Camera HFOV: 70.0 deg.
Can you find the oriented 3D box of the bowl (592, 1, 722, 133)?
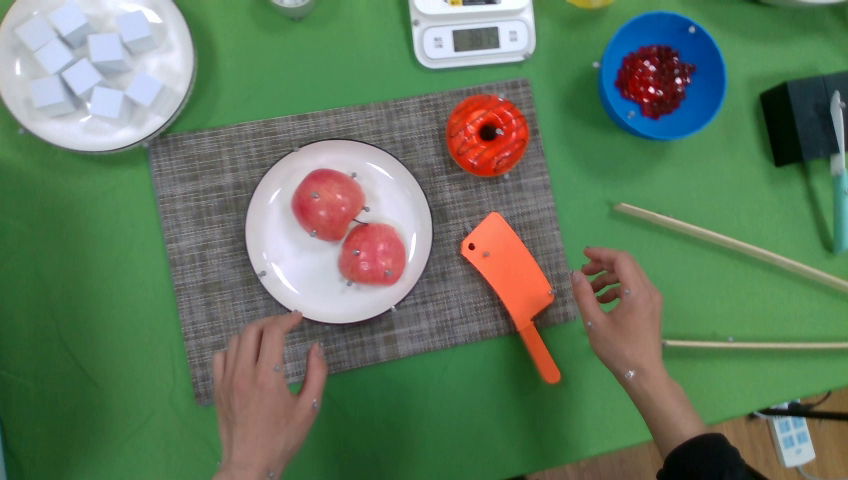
[{"bbox_3d":[0.263,-0.194,0.721,0.152,0.077,0.151,0,88,-7],"label":"bowl"}]

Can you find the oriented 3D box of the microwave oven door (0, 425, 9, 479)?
[{"bbox_3d":[-0.452,0.135,0.514,0.039,0.243,0.355,-9,88,-7],"label":"microwave oven door"}]

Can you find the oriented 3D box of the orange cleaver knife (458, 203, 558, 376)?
[{"bbox_3d":[0.114,0.058,0.715,0.077,0.012,0.211,-30,90,-13],"label":"orange cleaver knife"}]

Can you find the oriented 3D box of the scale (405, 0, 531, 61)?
[{"bbox_3d":[0.047,-0.320,0.724,0.149,0.031,0.200,-7,88,-7],"label":"scale"}]

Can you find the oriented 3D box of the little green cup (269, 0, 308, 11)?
[{"bbox_3d":[-0.158,-0.295,0.693,0.061,0.038,0.061,0,86,-6],"label":"little green cup"}]

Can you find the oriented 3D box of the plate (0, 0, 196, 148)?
[{"bbox_3d":[-0.356,-0.200,0.664,0.208,0.039,0.207,0,87,-7],"label":"plate"}]

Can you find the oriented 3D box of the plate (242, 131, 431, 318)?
[{"bbox_3d":[-0.096,-0.017,0.683,0.209,0.038,0.208,0,87,-7],"label":"plate"}]

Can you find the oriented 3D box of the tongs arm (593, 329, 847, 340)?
[{"bbox_3d":[0.396,0.100,0.743,0.386,0.026,0.050,4,82,-7],"label":"tongs arm"}]

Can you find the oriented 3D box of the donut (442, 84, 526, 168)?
[{"bbox_3d":[0.069,-0.133,0.707,0.099,0.048,0.099,0,88,-5],"label":"donut"}]

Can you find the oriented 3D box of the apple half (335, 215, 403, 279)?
[{"bbox_3d":[-0.062,0.008,0.680,0.081,0.033,0.081,0,89,-4],"label":"apple half"}]

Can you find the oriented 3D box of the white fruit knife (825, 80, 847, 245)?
[{"bbox_3d":[0.506,-0.092,0.746,0.016,0.027,0.208,-14,103,-7],"label":"white fruit knife"}]

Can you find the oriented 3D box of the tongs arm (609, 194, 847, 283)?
[{"bbox_3d":[0.410,0.013,0.753,0.388,0.028,0.028,19,77,-6],"label":"tongs arm"}]

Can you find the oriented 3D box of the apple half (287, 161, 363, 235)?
[{"bbox_3d":[-0.110,-0.050,0.668,0.074,0.053,0.080,39,82,0],"label":"apple half"}]
